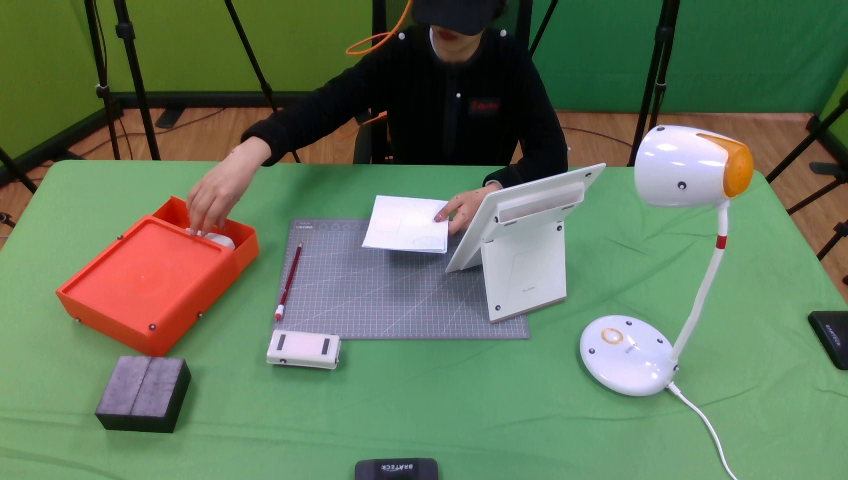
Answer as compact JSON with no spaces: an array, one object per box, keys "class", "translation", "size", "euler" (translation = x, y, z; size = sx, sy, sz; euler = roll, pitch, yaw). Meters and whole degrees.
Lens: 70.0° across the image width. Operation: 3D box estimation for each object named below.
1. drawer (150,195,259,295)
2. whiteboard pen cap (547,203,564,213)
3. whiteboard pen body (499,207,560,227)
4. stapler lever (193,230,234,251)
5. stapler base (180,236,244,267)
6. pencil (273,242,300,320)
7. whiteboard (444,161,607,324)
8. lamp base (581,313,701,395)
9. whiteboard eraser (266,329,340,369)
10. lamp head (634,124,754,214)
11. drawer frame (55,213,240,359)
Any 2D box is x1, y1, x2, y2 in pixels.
[{"class":"drawer","translation":[-0.442,0.033,1.093],"size":[0.194,0.073,0.211],"euler":[21,49,15]},{"class":"whiteboard pen cap","translation":[0.277,-0.066,1.275],"size":[0.033,0.018,0.018],"euler":[-18,50,-15]},{"class":"whiteboard pen body","translation":[0.221,-0.051,1.259],"size":[0.141,0.017,0.017],"euler":[-16,49,-15]},{"class":"stapler lever","translation":[-0.404,0.002,1.123],"size":[0.118,0.040,0.027],"euler":[19,49,17]},{"class":"stapler base","translation":[-0.401,0.016,1.138],"size":[0.130,0.024,0.041],"euler":[15,48,21]},{"class":"pencil","translation":[-0.249,0.071,1.115],"size":[0.012,0.012,0.193],"euler":[5,44,1]},{"class":"whiteboard","translation":[0.186,0.025,1.029],"size":[0.217,0.306,0.143],"euler":[-15,68,-18]},{"class":"lamp base","translation":[0.361,0.144,0.973],"size":[0.178,0.181,0.160],"euler":[34,53,23]},{"class":"whiteboard eraser","translation":[-0.198,0.181,0.994],"size":[0.113,0.042,0.055],"euler":[5,45,1]},{"class":"lamp head","translation":[0.351,-0.089,0.776],"size":[0.112,0.113,0.122],"euler":[-30,30,-28]},{"class":"drawer frame","translation":[-0.469,0.072,1.050],"size":[0.201,0.083,0.213],"euler":[21,49,14]}]
